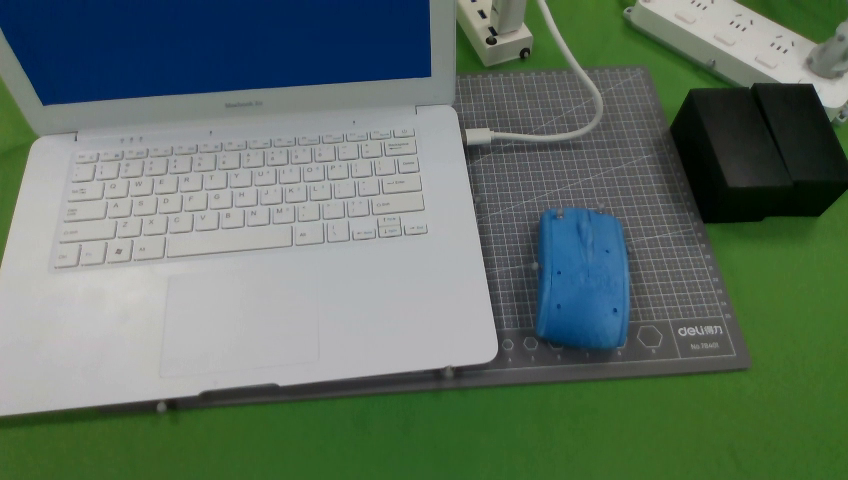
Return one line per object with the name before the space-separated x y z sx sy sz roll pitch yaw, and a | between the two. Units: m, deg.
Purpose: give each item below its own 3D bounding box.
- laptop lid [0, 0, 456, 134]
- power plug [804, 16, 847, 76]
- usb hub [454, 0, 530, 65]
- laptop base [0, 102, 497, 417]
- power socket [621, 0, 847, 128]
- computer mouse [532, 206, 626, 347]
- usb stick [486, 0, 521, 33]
laptop lid | -0.152 -0.183 0.433 0.357 0.244 0.013 -6 47 -3
power plug | 0.371 -0.170 0.538 0.072 0.053 0.035 -33 64 -17
usb hub | 0.054 -0.226 0.595 0.049 0.025 0.124 -18 61 -12
laptop base | -0.136 0.001 0.462 0.355 0.023 0.233 -5 63 -4
power socket | 0.297 -0.184 0.571 0.225 0.033 0.072 39 65 20
computer mouse | 0.112 0.021 0.441 0.063 0.041 0.116 7 55 5
usb stick | 0.072 -0.212 0.549 0.027 0.059 0.021 -28 72 -9
